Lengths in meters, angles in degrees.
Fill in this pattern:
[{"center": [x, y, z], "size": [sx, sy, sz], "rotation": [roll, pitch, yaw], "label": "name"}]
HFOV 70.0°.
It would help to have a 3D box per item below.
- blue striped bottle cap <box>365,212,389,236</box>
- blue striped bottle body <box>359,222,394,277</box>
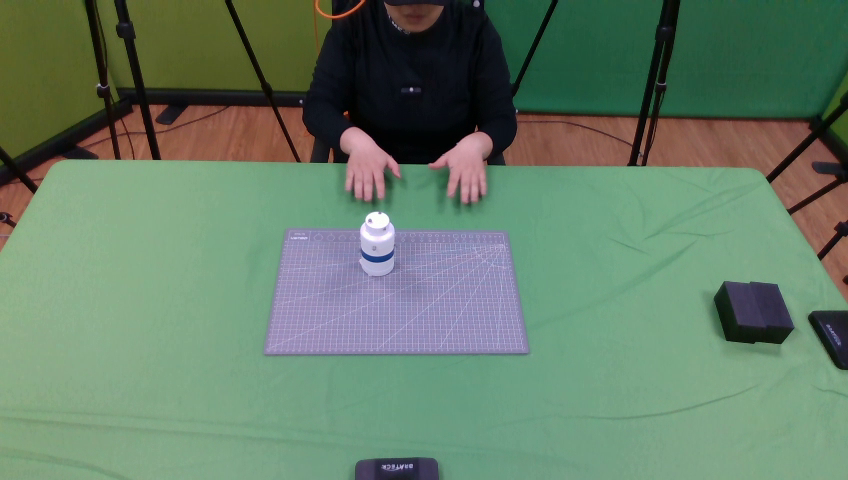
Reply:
[{"center": [-0.084, -0.029, 1.077], "size": [0.044, 0.021, 0.044], "rotation": [1, 46, -1], "label": "blue striped bottle cap"}, {"center": [-0.087, 0.006, 1.113], "size": [0.063, 0.121, 0.062], "rotation": [2, 46, -2], "label": "blue striped bottle body"}]
